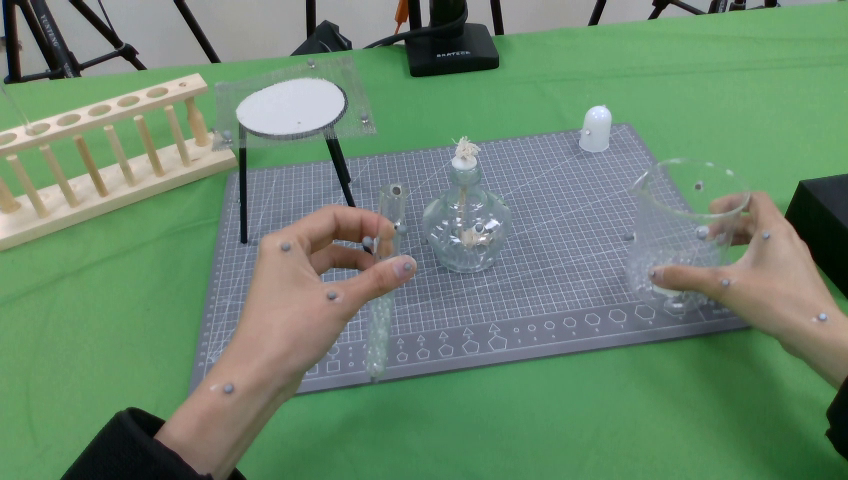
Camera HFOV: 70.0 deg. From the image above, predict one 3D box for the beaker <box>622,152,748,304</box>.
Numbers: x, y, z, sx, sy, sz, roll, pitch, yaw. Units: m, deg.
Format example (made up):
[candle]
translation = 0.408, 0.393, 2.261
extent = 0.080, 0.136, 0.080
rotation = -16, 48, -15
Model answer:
[beaker]
translation = 0.195, -0.007, 0.473
extent = 0.084, 0.101, 0.073
rotation = 5, 41, 12

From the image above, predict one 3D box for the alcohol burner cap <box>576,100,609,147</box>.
[alcohol burner cap]
translation = 0.181, -0.127, 0.647
extent = 0.034, 0.048, 0.033
rotation = -2, 43, 2

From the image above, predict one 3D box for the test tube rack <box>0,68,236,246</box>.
[test tube rack]
translation = -0.329, -0.089, 0.619
extent = 0.242, 0.086, 0.066
rotation = -25, 47, -20

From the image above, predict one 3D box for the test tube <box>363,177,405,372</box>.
[test tube]
translation = -0.027, 0.029, 0.381
extent = 0.017, 0.151, 0.017
rotation = 6, 35, -4

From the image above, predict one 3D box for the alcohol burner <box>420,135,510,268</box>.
[alcohol burner]
translation = 0.034, -0.035, 0.508
extent = 0.078, 0.120, 0.077
rotation = -3, 42, 3

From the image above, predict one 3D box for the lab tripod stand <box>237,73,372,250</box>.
[lab tripod stand]
translation = -0.107, -0.067, 0.539
extent = 0.148, 0.133, 0.147
rotation = -3, 45, 3

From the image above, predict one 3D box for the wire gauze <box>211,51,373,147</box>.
[wire gauze]
translation = -0.112, -0.116, 0.492
extent = 0.125, 0.011, 0.120
rotation = -12, 44, -7

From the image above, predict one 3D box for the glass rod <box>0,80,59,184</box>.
[glass rod]
translation = -0.381, -0.123, 0.561
extent = 0.008, 0.201, 0.008
rotation = -1, 47, 2
